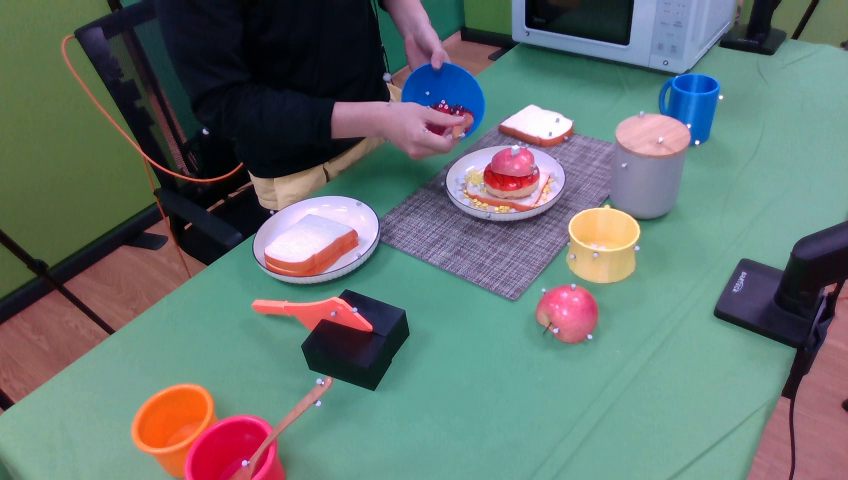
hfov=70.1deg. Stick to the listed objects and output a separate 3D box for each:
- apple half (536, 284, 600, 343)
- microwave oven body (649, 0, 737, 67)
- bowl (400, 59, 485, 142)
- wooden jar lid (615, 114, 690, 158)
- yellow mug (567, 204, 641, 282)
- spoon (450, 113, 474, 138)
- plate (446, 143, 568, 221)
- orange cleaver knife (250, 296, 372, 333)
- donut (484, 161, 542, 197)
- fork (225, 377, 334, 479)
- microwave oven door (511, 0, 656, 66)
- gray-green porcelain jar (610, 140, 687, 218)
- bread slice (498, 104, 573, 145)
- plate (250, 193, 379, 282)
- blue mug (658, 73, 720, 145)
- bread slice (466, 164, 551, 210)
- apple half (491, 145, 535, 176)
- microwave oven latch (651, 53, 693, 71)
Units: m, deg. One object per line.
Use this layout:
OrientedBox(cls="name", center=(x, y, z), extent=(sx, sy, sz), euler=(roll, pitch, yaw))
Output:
OrientedBox(cls="apple half", center=(0.196, 0.091, 0.815), extent=(0.075, 0.053, 0.080), euler=(-22, 42, -20))
OrientedBox(cls="microwave oven body", center=(0.475, -0.602, 1.411), extent=(0.438, 0.261, 0.327), euler=(23, 50, 32))
OrientedBox(cls="bowl", center=(0.027, -0.236, 1.077), extent=(0.152, 0.077, 0.151), euler=(2, 77, -10))
OrientedBox(cls="wooden jar lid", center=(0.347, -0.155, 0.923), extent=(0.108, 0.021, 0.108), euler=(-3, 44, 4))
OrientedBox(cls="yellow mug", center=(0.268, -0.005, 0.905), extent=(0.099, 0.064, 0.130), euler=(7, 42, 16))
OrientedBox(cls="spoon", center=(0.054, -0.177, 0.930), extent=(0.041, 0.021, 0.193), euler=(-3, 15, 8))
OrientedBox(cls="plate", center=(0.142, -0.097, 1.045), extent=(0.207, 0.039, 0.206), euler=(-4, 40, 4))
OrientedBox(cls="orange cleaver knife", center=(-0.159, 0.103, 0.828), extent=(0.210, 0.078, 0.012), euler=(-4, 43, 39))
OrientedBox(cls="donut", center=(0.149, -0.109, 1.016), extent=(0.099, 0.048, 0.098), euler=(-4, 40, 4))
OrientedBox(cls="fork", center=(-0.163, 0.216, 0.646), extent=(0.207, 0.019, 0.028), euler=(-49, 42, 16))
OrientedBox(cls="microwave oven door", center=(0.350, -0.539, 1.348), extent=(0.353, 0.245, 0.039), euler=(24, 50, 31))
OrientedBox(cls="gray-green porcelain jar", center=(0.354, -0.106, 0.964), extent=(0.106, 0.127, 0.105), euler=(-4, 41, 4))
OrientedBox(cls="bread slice", center=(0.231, -0.231, 1.205), extent=(0.105, 0.019, 0.130), euler=(-36, 47, -28))
OrientedBox(cls="plate", center=(-0.174, -0.001, 0.984), extent=(0.209, 0.038, 0.208), euler=(-3, 40, 3))
OrientedBox(cls="blue mug", center=(0.483, -0.250, 1.127), extent=(0.082, 0.106, 0.115), euler=(-26, 44, -19))
OrientedBox(cls="bread slice", center=(0.141, -0.093, 1.041), extent=(0.133, 0.018, 0.107), euler=(9, 42, 20))
OrientedBox(cls="apple half", center=(0.147, -0.138, 0.993), extent=(0.081, 0.033, 0.081), euler=(1, 37, 0))
OrientedBox(cls="microwave oven latch", center=(0.532, -0.386, 1.301), extent=(0.078, 0.029, 0.030), euler=(27, 52, 34))
